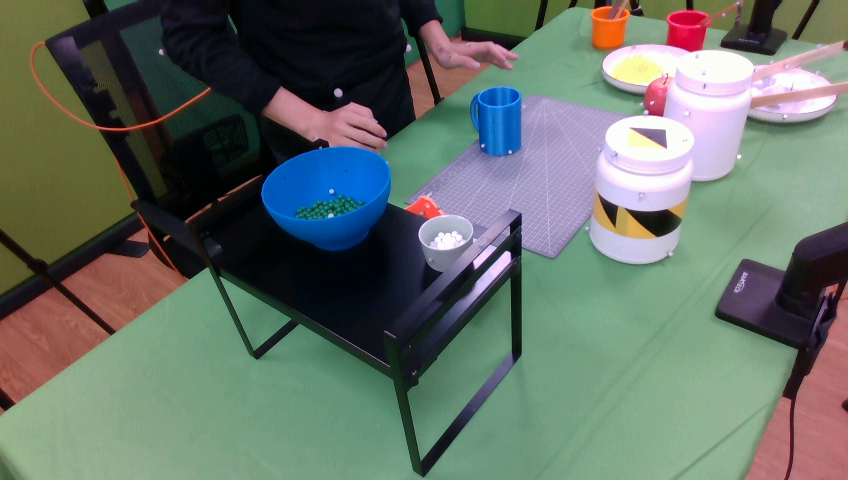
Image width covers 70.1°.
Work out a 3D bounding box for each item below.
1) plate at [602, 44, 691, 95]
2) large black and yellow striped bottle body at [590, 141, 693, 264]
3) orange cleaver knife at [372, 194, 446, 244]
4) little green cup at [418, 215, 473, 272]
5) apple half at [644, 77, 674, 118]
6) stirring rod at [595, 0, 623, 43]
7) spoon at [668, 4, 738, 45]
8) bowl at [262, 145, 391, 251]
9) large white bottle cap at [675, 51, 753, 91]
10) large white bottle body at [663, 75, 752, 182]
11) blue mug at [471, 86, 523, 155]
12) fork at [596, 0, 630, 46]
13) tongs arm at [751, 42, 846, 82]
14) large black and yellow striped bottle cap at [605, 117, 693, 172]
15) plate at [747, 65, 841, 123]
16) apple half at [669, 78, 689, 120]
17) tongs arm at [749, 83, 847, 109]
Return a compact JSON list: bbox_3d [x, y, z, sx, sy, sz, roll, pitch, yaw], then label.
[{"bbox_3d":[0.494,-0.367,1.317,0.209,0.038,0.208,-4,40,4],"label":"plate"},{"bbox_3d":[0.317,-0.071,0.889,0.131,0.185,0.130,-4,41,4],"label":"large black and yellow striped bottle body"},{"bbox_3d":[-0.032,-0.026,0.965,0.210,0.077,0.012,-9,29,51],"label":"orange cleaver knife"},{"bbox_3d":[0.026,0.005,0.678,0.061,0.039,0.061,-4,40,4],"label":"little green cup"},{"bbox_3d":[0.463,-0.279,1.194,0.053,0.075,0.081,8,46,24],"label":"apple half"},{"bbox_3d":[0.460,-0.556,1.459,0.014,0.006,0.176,30,93,23],"label":"stirring rod"},{"bbox_3d":[0.618,-0.478,1.346,0.042,0.193,0.021,-25,89,-20],"label":"spoon"},{"bbox_3d":[-0.108,-0.041,0.723,0.151,0.077,0.150,-4,40,4],"label":"bowl"},{"bbox_3d":[0.463,-0.271,0.967,0.115,0.018,0.114,-4,40,3],"label":"large white bottle cap"},{"bbox_3d":[0.472,-0.207,1.022,0.130,0.185,0.130,-4,41,4],"label":"large white bottle body"},{"bbox_3d":[0.135,-0.235,1.163,0.082,0.106,0.115,-36,48,-28],"label":"blue mug"},{"bbox_3d":[0.481,-0.556,1.452,0.028,0.019,0.207,40,103,40],"label":"fork"},{"bbox_3d":[0.708,-0.331,1.193,0.386,0.026,0.050,-18,45,-16],"label":"tongs arm"},{"bbox_3d":[0.309,-0.134,0.833,0.115,0.019,0.114,-5,40,5],"label":"large black and yellow striped bottle cap"},{"bbox_3d":[0.695,-0.282,1.189,0.207,0.039,0.206,-4,40,4],"label":"plate"},{"bbox_3d":[0.498,-0.273,1.180,0.032,0.082,0.081,7,42,25],"label":"apple half"},{"bbox_3d":[0.734,-0.280,1.133,0.388,0.028,0.028,-9,47,-5],"label":"tongs arm"}]
